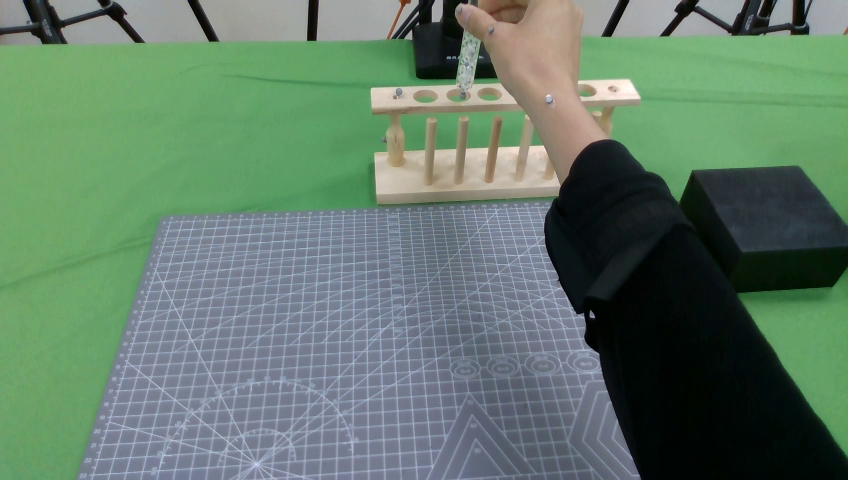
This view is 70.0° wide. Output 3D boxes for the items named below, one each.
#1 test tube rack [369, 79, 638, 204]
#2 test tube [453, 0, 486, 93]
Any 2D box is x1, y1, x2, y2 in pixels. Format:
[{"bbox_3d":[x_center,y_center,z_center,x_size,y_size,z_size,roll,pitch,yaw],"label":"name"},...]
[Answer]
[{"bbox_3d":[0.072,-0.092,0.566,0.243,0.086,0.066,-3,45,-5],"label":"test tube rack"},{"bbox_3d":[0.039,-0.181,0.475,0.017,0.151,0.017,4,47,-4],"label":"test tube"}]
